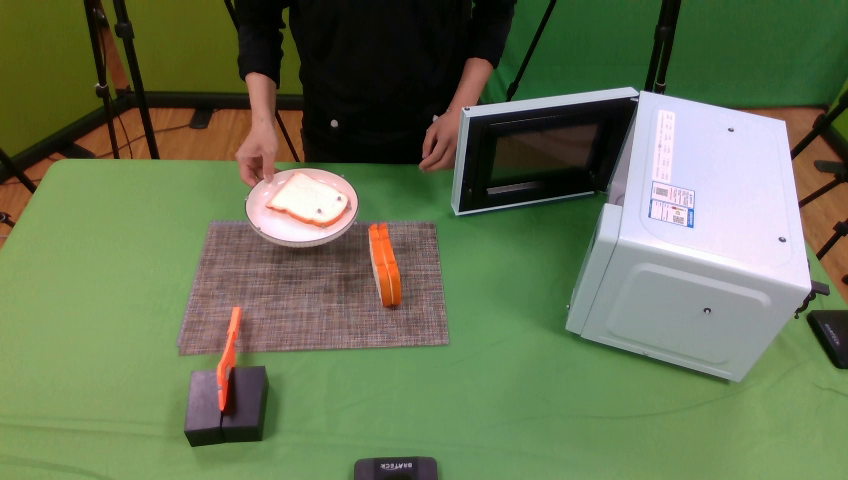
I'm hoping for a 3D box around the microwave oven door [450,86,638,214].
[{"bbox_3d":[0.234,-0.177,1.208,0.356,0.245,0.039,-10,48,-13],"label":"microwave oven door"}]

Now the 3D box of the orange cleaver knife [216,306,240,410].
[{"bbox_3d":[-0.307,0.180,0.957,0.012,0.077,0.210,-2,25,-8],"label":"orange cleaver knife"}]

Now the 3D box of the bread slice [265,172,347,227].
[{"bbox_3d":[-0.215,-0.074,1.152,0.134,0.018,0.106,20,50,12],"label":"bread slice"}]

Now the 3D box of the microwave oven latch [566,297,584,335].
[{"bbox_3d":[0.268,0.126,1.059,0.030,0.029,0.079,16,46,12],"label":"microwave oven latch"}]

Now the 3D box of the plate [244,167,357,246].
[{"bbox_3d":[-0.229,-0.060,1.138,0.208,0.039,0.206,3,45,-3],"label":"plate"}]

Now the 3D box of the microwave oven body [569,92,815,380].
[{"bbox_3d":[0.468,-0.022,1.082,0.325,0.261,0.440,15,46,11],"label":"microwave oven body"}]
